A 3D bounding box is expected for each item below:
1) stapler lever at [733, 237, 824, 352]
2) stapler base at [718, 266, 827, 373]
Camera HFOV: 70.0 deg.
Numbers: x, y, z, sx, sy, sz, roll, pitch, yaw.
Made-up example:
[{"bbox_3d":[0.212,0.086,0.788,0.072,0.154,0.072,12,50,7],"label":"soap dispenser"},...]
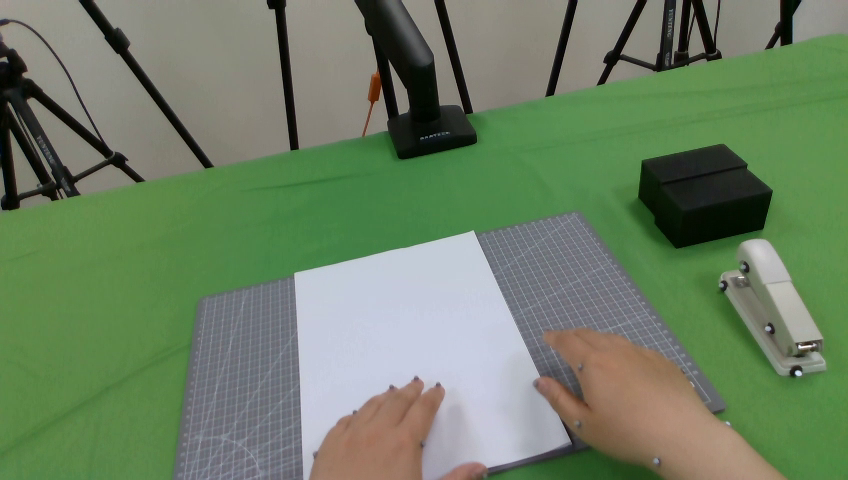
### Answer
[{"bbox_3d":[0.309,0.043,0.531,0.027,0.040,0.117,-10,39,3],"label":"stapler lever"},{"bbox_3d":[0.312,0.062,0.549,0.041,0.025,0.129,-10,39,3],"label":"stapler base"}]
